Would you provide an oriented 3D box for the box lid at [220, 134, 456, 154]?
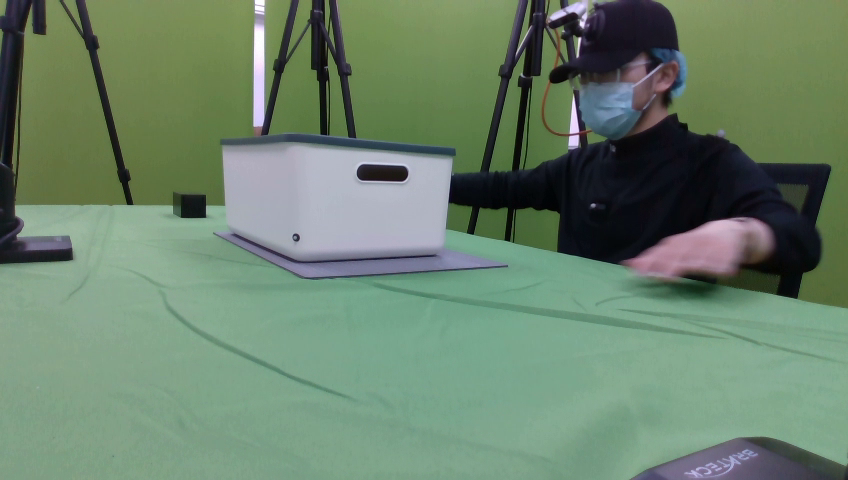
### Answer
[{"bbox_3d":[-0.148,-0.147,0.951,0.265,0.015,0.369,-2,8,-33],"label":"box lid"}]

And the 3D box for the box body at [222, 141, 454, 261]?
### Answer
[{"bbox_3d":[-0.152,-0.074,0.963,0.255,0.160,0.362,-3,9,-33],"label":"box body"}]
